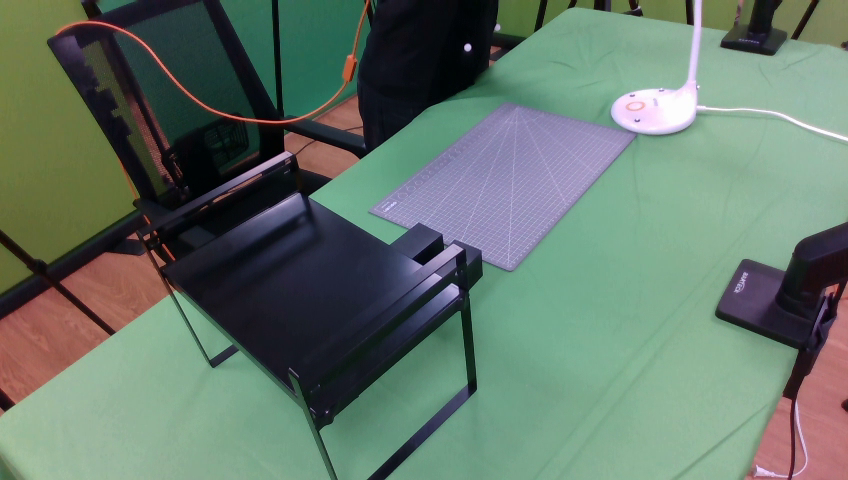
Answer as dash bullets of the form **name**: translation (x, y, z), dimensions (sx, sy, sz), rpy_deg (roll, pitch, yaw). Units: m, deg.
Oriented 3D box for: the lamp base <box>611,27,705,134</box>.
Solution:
- **lamp base**: translation (0.458, -0.316, 1.154), dimensions (0.179, 0.181, 0.159), rpy_deg (-5, 41, 0)
